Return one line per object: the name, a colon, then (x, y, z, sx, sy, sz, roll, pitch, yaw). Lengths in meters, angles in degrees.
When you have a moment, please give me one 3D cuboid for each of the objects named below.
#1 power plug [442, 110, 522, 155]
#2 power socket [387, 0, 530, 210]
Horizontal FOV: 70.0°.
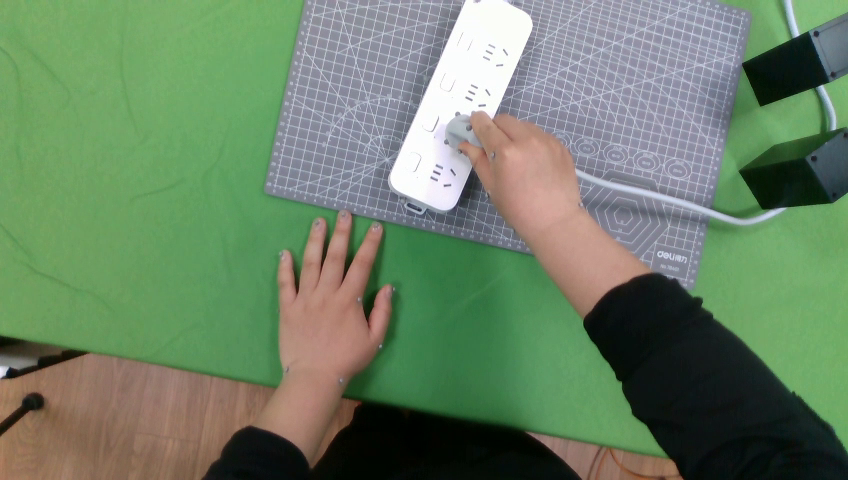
power plug: (0.049, -0.091, 0.564, 0.073, 0.052, 0.035, 40, 89, -8)
power socket: (0.033, -0.136, 0.592, 0.072, 0.032, 0.226, 23, 89, -6)
